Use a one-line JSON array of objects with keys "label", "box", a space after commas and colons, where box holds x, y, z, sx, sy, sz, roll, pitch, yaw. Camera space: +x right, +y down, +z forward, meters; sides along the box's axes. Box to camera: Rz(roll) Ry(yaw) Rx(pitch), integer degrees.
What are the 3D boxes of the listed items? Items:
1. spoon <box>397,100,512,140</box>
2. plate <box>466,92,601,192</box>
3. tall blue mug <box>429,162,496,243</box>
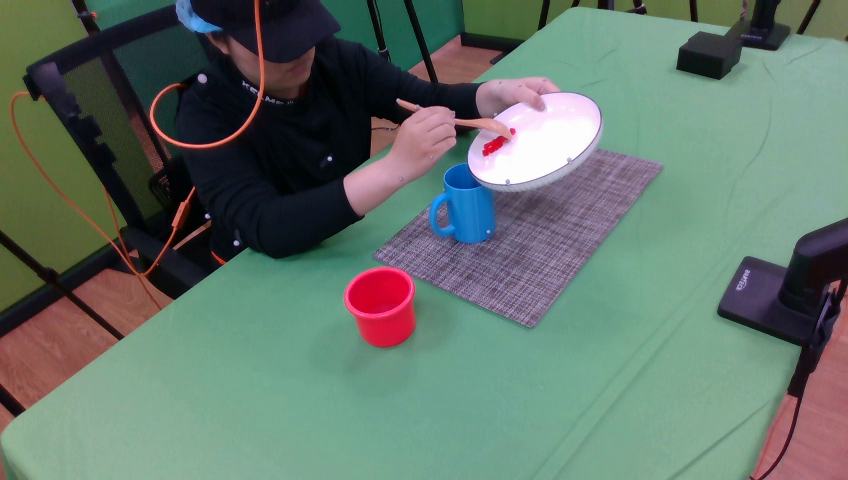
[{"label": "spoon", "box": [0.051, -0.185, 0.929, 0.195, 0.021, 0.041, 8, 38, -17]}, {"label": "plate", "box": [0.165, -0.142, 0.910, 0.207, 0.039, 0.206, -19, 40, 17]}, {"label": "tall blue mug", "box": [0.067, -0.051, 0.961, 0.077, 0.108, 0.107, 18, 47, 28]}]
